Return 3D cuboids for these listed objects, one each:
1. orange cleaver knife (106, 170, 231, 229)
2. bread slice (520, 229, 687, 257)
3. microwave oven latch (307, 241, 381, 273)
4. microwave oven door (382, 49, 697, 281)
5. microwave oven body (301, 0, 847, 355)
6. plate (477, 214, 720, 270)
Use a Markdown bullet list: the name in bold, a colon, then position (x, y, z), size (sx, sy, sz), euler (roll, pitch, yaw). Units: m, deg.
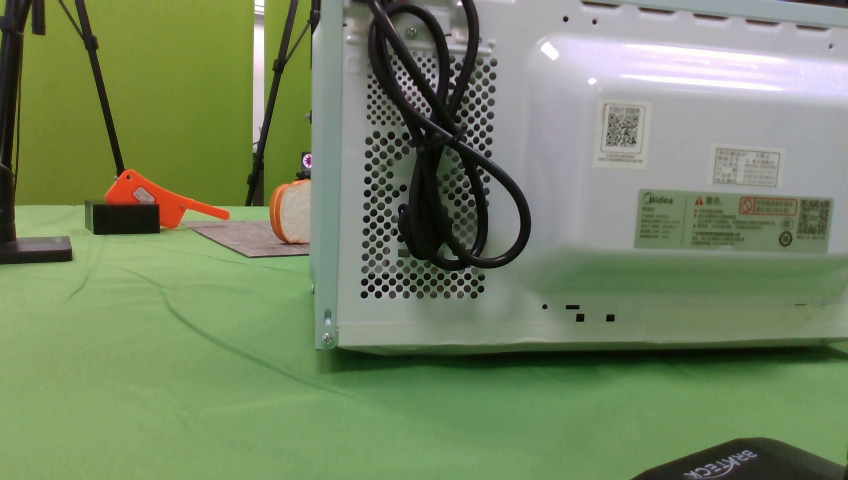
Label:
- **orange cleaver knife**: position (-0.458, -0.060, 1.097), size (0.212, 0.077, 0.012), euler (23, -4, -38)
- **bread slice**: position (0.172, 0.002, 0.564), size (0.134, 0.018, 0.107), euler (-2, 4, 30)
- **microwave oven latch**: position (-0.086, 0.018, 0.655), size (0.079, 0.029, 0.030), euler (2, 7, -9)
- **microwave oven door**: position (0.135, -0.077, 0.685), size (0.357, 0.243, 0.039), euler (1, 8, -12)
- **microwave oven body**: position (0.120, -0.053, 0.535), size (0.443, 0.260, 0.325), euler (2, 7, -11)
- **plate**: position (0.151, -0.001, 0.545), size (0.208, 0.039, 0.207), euler (0, 5, 0)
